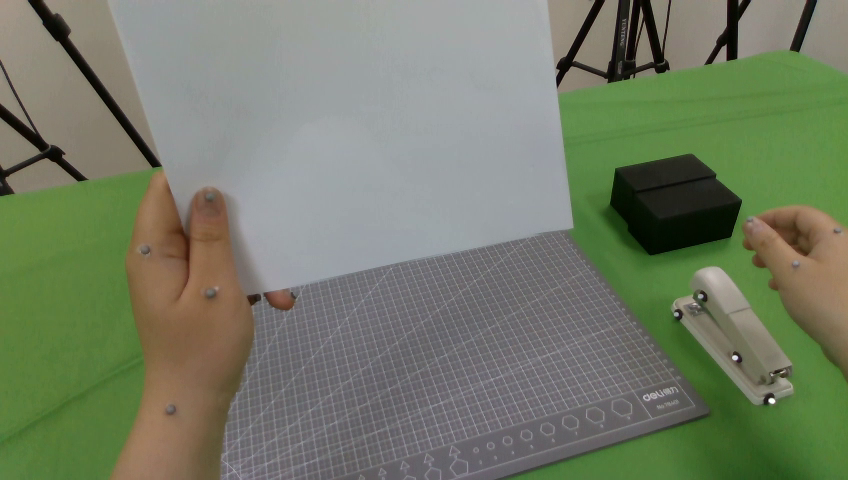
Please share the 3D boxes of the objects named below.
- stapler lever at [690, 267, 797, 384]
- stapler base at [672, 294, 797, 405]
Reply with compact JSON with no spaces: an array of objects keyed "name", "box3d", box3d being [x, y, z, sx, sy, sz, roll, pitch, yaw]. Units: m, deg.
[{"name":"stapler lever","box3d":[0.278,0.070,0.533,0.027,0.040,0.116,-15,41,-10]},{"name":"stapler base","box3d":[0.279,0.089,0.550,0.041,0.024,0.129,-14,41,-10]}]
